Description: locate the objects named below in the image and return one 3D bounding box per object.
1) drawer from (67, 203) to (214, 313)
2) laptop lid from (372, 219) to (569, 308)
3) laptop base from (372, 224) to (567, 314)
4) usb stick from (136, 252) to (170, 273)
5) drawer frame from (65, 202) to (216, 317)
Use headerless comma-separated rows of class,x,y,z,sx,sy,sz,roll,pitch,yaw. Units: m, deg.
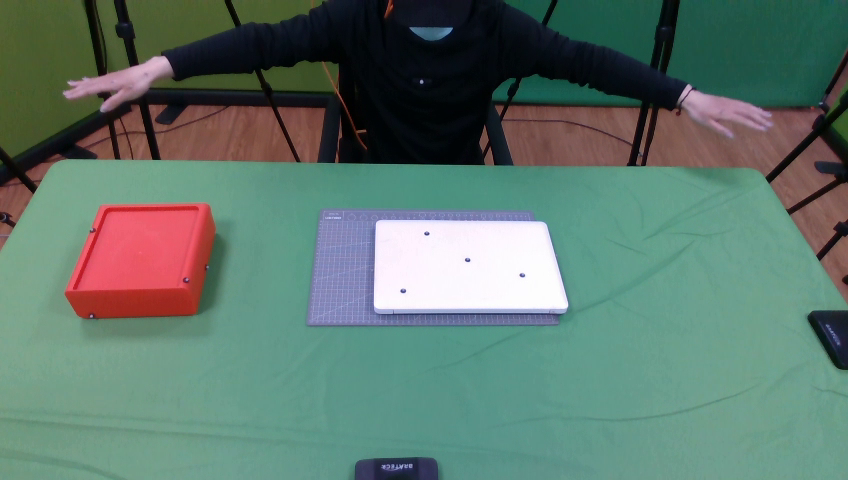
drawer,-0.499,0.028,1.091,0.195,0.073,0.210,-1,47,-6
laptop lid,0.081,0.039,1.152,0.357,0.013,0.240,2,44,-3
laptop base,0.080,0.049,1.158,0.355,0.023,0.234,0,43,-4
usb stick,-0.498,0.040,1.106,0.059,0.027,0.021,11,46,6
drawer frame,-0.497,0.029,1.090,0.202,0.083,0.212,-1,47,-7
